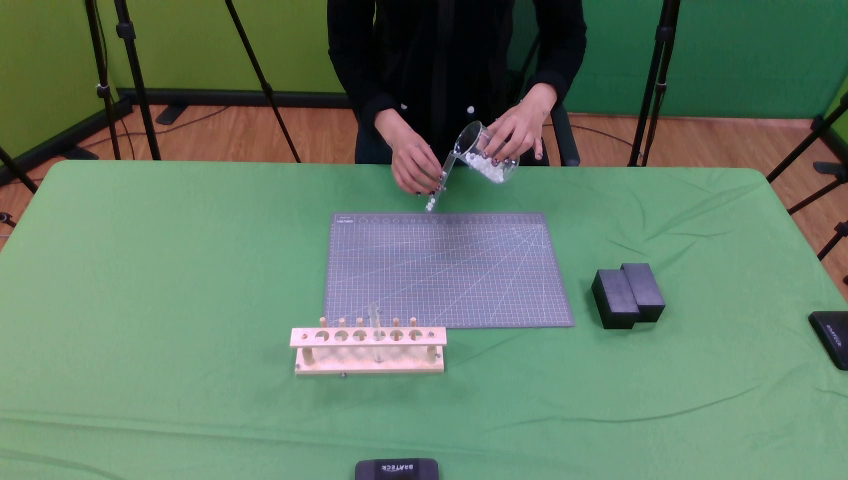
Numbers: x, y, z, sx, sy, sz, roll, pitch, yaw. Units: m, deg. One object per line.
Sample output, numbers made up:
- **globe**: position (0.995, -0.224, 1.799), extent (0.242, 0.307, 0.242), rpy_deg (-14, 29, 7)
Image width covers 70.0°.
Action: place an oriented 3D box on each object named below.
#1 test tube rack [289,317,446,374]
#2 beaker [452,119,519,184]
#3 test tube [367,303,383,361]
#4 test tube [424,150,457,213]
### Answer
- **test tube rack**: position (-0.089, 0.167, 0.987), extent (0.242, 0.085, 0.066), rpy_deg (0, 46, -4)
- **beaker**: position (0.109, -0.149, 1.062), extent (0.101, 0.084, 0.073), rpy_deg (32, 47, -25)
- **test tube**: position (-0.075, 0.146, 0.941), extent (0.017, 0.151, 0.017), rpy_deg (0, 49, 0)
- **test tube**: position (0.029, -0.105, 1.118), extent (0.017, 0.151, 0.017), rpy_deg (14, 43, -13)
